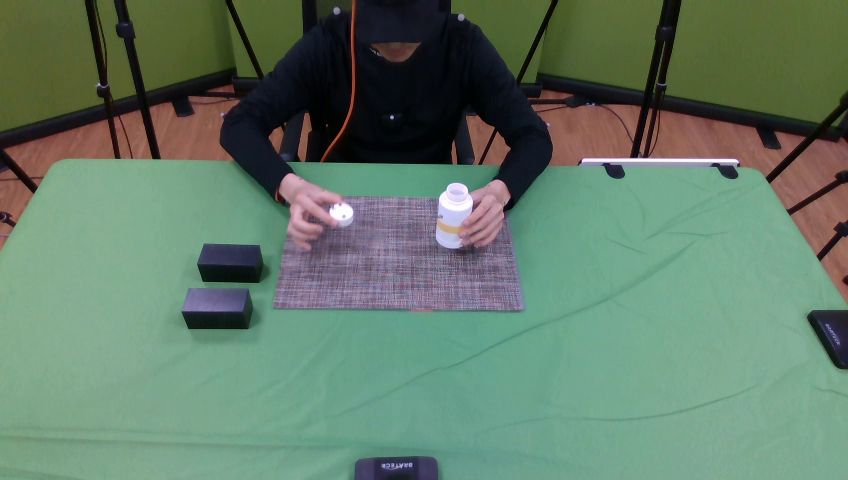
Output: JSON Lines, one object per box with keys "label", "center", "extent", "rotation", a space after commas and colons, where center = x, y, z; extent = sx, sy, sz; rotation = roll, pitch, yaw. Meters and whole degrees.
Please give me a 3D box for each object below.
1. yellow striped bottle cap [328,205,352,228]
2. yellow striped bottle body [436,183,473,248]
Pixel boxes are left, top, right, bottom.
{"label": "yellow striped bottle cap", "center": [-0.153, -0.043, 1.105], "extent": [0.044, 0.019, 0.044], "rotation": [5, 47, -5]}
{"label": "yellow striped bottle body", "center": [0.057, -0.048, 1.118], "extent": [0.063, 0.121, 0.062], "rotation": [2, 42, -1]}
